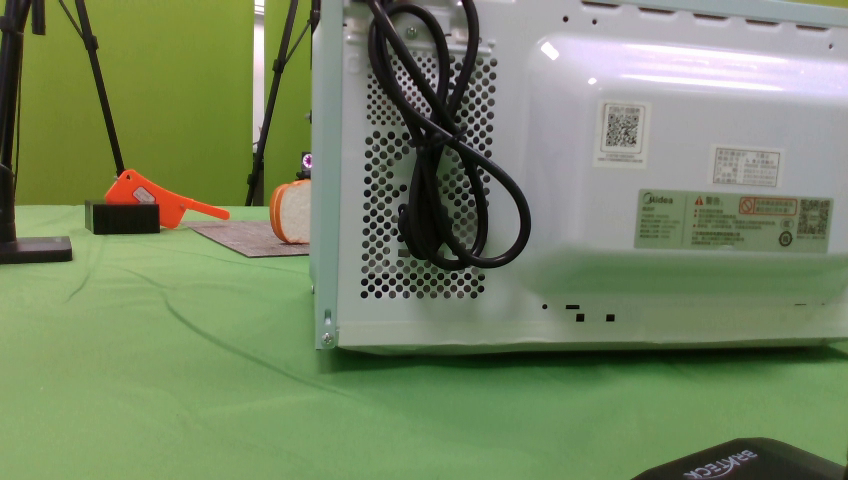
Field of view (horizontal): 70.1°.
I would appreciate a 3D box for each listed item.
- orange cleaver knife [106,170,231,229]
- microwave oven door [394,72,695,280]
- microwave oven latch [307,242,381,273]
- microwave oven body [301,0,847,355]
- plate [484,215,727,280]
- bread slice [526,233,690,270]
[{"bbox_3d":[-0.458,-0.060,1.097,0.212,0.077,0.012,23,-4,-38],"label":"orange cleaver knife"},{"bbox_3d":[0.139,-0.086,0.762,0.355,0.243,0.039,5,8,14],"label":"microwave oven door"},{"bbox_3d":[-0.086,0.019,0.656,0.079,0.029,0.030,2,7,-10],"label":"microwave oven latch"},{"bbox_3d":[0.120,-0.053,0.535,0.443,0.260,0.325,2,7,-11],"label":"microwave oven body"},{"bbox_3d":[0.158,0.005,0.546,0.208,0.039,0.207,-2,7,1],"label":"plate"},{"bbox_3d":[0.175,0.009,0.564,0.134,0.018,0.107,-4,7,27],"label":"bread slice"}]
